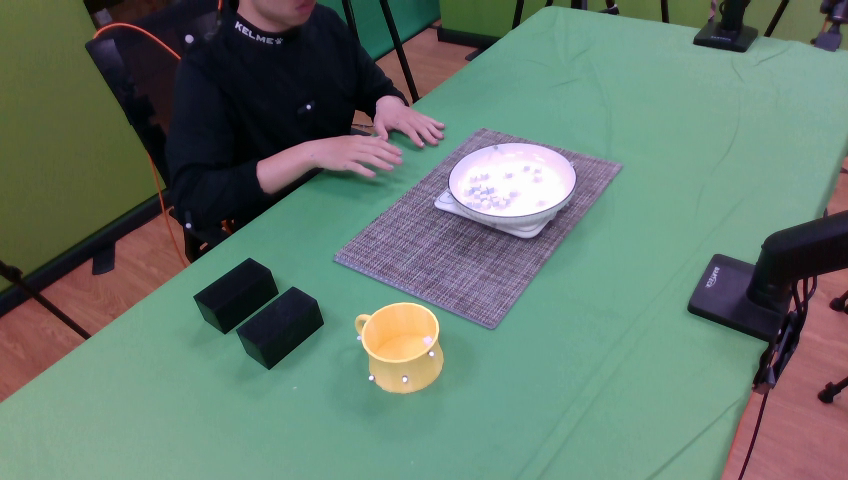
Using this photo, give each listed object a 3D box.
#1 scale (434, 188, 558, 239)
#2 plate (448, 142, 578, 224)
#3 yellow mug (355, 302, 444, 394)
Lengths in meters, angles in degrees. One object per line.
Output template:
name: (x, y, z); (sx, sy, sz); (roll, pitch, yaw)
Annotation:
scale: (0.132, -0.075, 1.025); (0.199, 0.032, 0.149); (22, 48, 30)
plate: (0.145, -0.089, 0.989); (0.209, 0.038, 0.208); (-4, 41, 4)
yellow mug: (-0.040, 0.133, 0.786); (0.130, 0.064, 0.100); (20, 47, 29)
